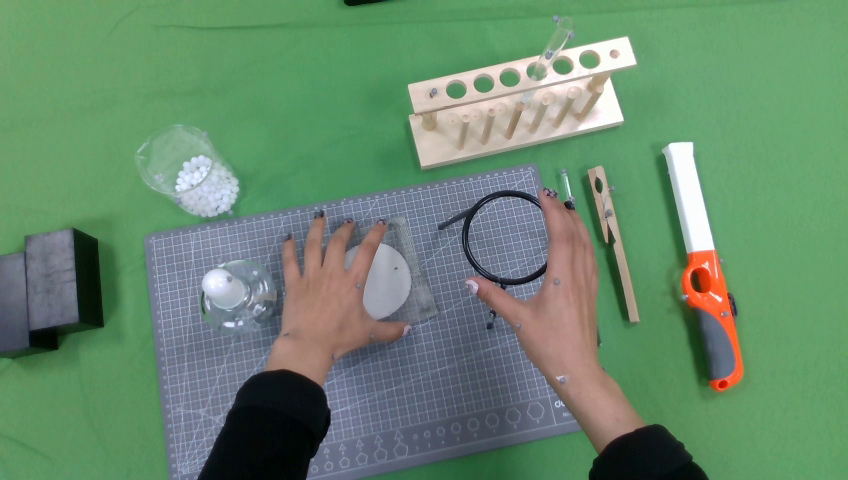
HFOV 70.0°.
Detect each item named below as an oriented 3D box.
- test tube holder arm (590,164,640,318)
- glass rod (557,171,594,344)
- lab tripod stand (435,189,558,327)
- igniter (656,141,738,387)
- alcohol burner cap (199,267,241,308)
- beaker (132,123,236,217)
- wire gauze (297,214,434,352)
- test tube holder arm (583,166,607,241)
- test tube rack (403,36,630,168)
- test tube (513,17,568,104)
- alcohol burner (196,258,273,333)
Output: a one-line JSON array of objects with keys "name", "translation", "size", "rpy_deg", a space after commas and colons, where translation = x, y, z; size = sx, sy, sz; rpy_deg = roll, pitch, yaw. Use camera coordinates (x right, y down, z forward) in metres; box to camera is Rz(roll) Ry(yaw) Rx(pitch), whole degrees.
[{"name": "test tube holder arm", "translation": [0.212, 0.000, 0.676], "size": [0.013, 0.015, 0.177], "rpy_deg": [-21, 75, 31]}, {"name": "glass rod", "translation": [0.170, 0.017, 0.680], "size": [0.008, 0.008, 0.199], "rpy_deg": [-8, 81, -3]}, {"name": "lab tripod stand", "translation": [0.072, 0.009, 0.612], "size": [0.148, 0.132, 0.147], "rpy_deg": [0, 78, 1]}, {"name": "igniter", "translation": [0.301, 0.022, 0.671], "size": [0.057, 0.025, 0.275], "rpy_deg": [-4, 77, -12]}, {"name": "alcohol burner cap", "translation": [-0.195, 0.042, 0.571], "size": [0.034, 0.048, 0.033], "rpy_deg": [1, 67, -2]}, {"name": "beaker", "translation": [-0.249, -0.070, 0.643], "size": [0.084, 0.100, 0.073], "rpy_deg": [7, 76, 1]}, {"name": "wire gauze", "translation": [-0.065, 0.044, 0.665], "size": [0.121, 0.011, 0.124], "rpy_deg": [-18, 82, -6]}, {"name": "test tube holder arm", "translation": [0.198, -0.041, 0.689], "size": [0.010, 0.015, 0.087], "rpy_deg": [-20, 76, 32]}, {"name": "test tube rack", "translation": [0.102, -0.151, 0.676], "size": [0.242, 0.085, 0.066], "rpy_deg": [-13, 77, -4]}, {"name": "test tube", "translation": [0.118, -0.182, 0.633], "size": [0.017, 0.150, 0.017], "rpy_deg": [2, 75, -6]}, {"name": "alcohol burner", "translation": [-0.195, 0.052, 0.606], "size": [0.078, 0.119, 0.077], "rpy_deg": [0, 75, 1]}]
